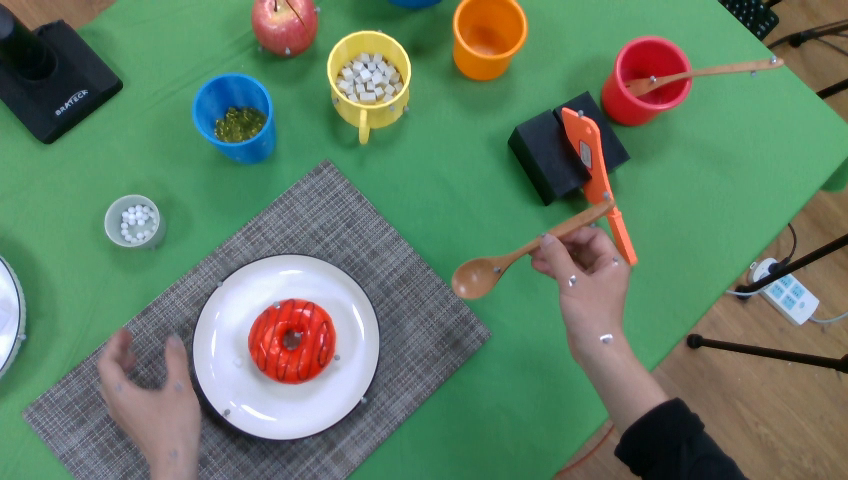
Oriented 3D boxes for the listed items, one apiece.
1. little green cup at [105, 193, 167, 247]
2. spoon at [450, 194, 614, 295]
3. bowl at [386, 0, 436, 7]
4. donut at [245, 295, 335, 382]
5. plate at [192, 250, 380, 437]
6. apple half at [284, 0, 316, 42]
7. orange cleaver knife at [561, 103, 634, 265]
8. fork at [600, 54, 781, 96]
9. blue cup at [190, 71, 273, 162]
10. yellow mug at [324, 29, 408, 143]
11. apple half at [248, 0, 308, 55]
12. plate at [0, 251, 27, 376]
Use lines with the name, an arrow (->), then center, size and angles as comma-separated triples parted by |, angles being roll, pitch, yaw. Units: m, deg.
little green cup -> -0.334, -0.021, 0.708 | 0.061, 0.039, 0.061 | 1, 79, -4
spoon -> 0.103, 0.006, 0.603 | 0.193, 0.022, 0.041 | -32, 74, 35
bowl -> -0.019, -0.358, 0.776 | 0.151, 0.077, 0.151 | 1, 80, -4
donut -> -0.150, 0.111, 0.683 | 0.099, 0.048, 0.098 | 1, 81, -3
plate -> -0.155, 0.116, 0.693 | 0.209, 0.038, 0.208 | 1, 80, -4
apple half -> -0.154, -0.287, 0.753 | 0.033, 0.081, 0.081 | -37, 84, -8
orange cleaver knife -> 0.210, -0.066, 0.738 | 0.012, 0.076, 0.213 | -27, 112, -7
fork -> 0.317, -0.203, 0.739 | 0.206, 0.019, 0.028 | -3, 62, 38
blue cup -> -0.215, -0.135, 0.707 | 0.093, 0.100, 0.092 | 1, 80, -6
yellow mug -> -0.072, -0.184, 0.745 | 0.100, 0.064, 0.130 | 6, 80, -4
apple half -> -0.186, -0.263, 0.748 | 0.053, 0.075, 0.080 | -37, 87, -7
plate -> -0.545, 0.089, 0.671 | 0.208, 0.039, 0.206 | 1, 79, -4
